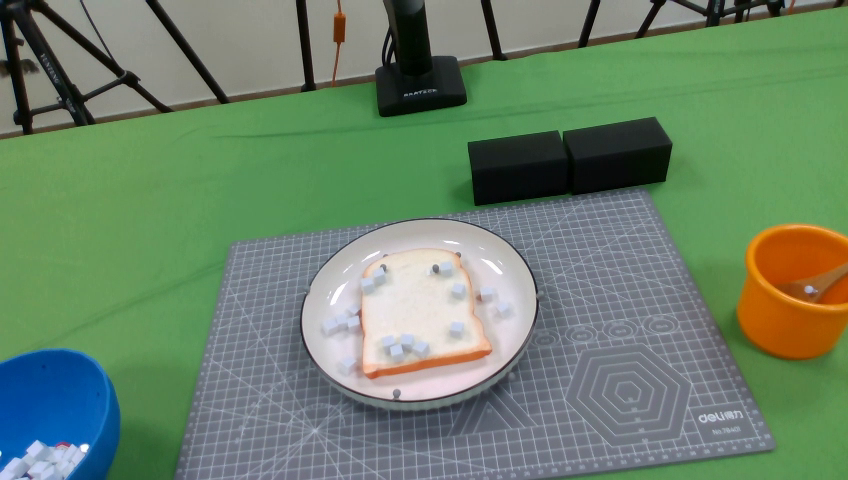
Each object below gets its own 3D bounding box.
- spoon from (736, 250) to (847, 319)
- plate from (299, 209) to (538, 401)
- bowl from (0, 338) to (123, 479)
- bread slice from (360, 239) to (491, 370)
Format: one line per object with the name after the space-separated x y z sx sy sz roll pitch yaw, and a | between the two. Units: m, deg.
0.328 0.010 0.452 0.022 0.194 0.041 28 43 -25 | spoon
-0.005 0.054 0.538 0.209 0.038 0.207 -5 45 5 | plate
-0.294 0.158 0.460 0.151 0.077 0.150 -5 45 5 | bowl
-0.008 0.053 0.544 0.107 0.018 0.133 -13 46 -2 | bread slice
